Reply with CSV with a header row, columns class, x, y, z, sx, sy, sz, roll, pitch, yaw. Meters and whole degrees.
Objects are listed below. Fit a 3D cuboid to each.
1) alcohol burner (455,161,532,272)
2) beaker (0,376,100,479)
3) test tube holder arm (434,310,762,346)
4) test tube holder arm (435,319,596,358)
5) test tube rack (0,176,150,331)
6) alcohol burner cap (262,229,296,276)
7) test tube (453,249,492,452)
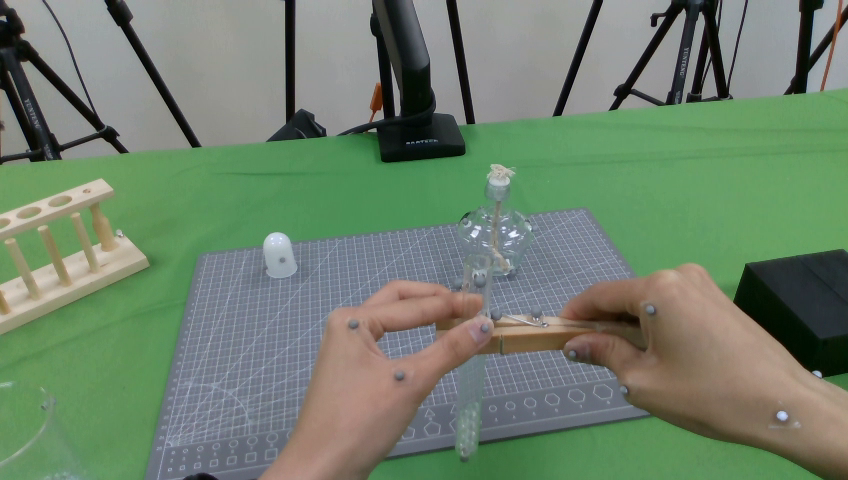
class,x,y,z,sx,sy,sz,roll,pitch,yaw
alcohol burner,0.071,-0.027,0.609,0.078,0.120,0.077,0,36,0
beaker,-0.268,0.151,0.399,0.084,0.101,0.073,-3,36,1
test tube holder arm,0.095,0.049,0.337,0.178,0.015,0.013,1,37,2
test tube holder arm,0.050,0.053,0.332,0.088,0.015,0.010,-5,37,-6
test tube rack,-0.409,0.029,0.587,0.242,0.086,0.066,-30,45,-33
alcohol burner cap,-0.153,0.011,0.630,0.034,0.048,0.033,-2,36,2
test tube,0.027,0.070,0.350,0.017,0.151,0.017,1,33,0
